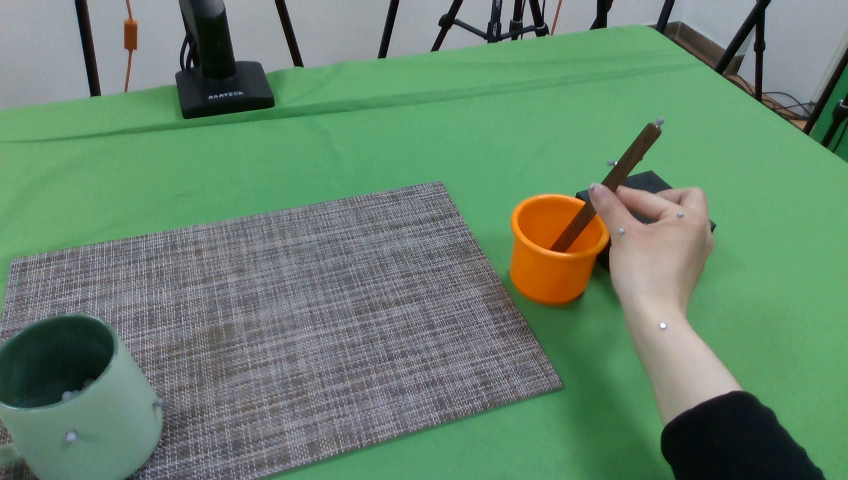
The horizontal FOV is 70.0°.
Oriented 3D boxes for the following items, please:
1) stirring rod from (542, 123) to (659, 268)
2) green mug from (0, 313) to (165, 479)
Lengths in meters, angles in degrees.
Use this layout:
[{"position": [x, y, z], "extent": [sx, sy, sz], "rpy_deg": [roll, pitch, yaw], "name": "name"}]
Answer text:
[{"position": [0.151, -0.033, 0.537], "extent": [0.006, 0.177, 0.014], "rpy_deg": [-17, 59, -38], "name": "stirring rod"}, {"position": [-0.254, 0.120, 0.418], "extent": [0.125, 0.106, 0.091], "rpy_deg": [-20, 48, -23], "name": "green mug"}]
